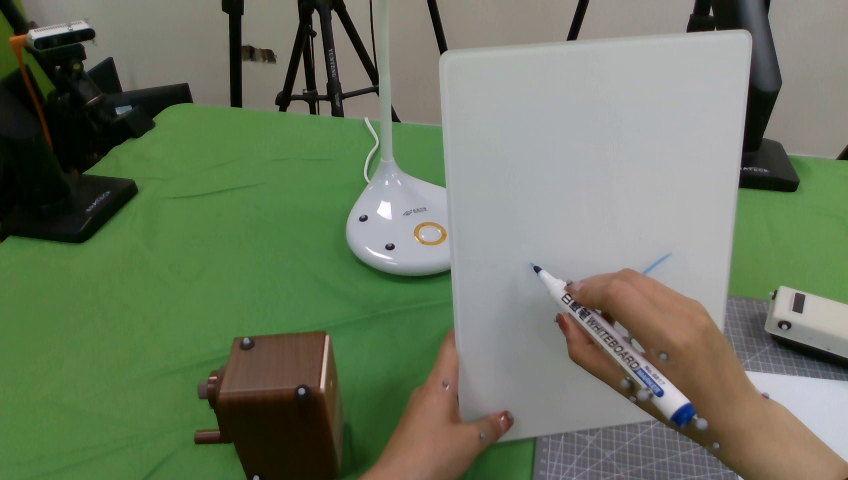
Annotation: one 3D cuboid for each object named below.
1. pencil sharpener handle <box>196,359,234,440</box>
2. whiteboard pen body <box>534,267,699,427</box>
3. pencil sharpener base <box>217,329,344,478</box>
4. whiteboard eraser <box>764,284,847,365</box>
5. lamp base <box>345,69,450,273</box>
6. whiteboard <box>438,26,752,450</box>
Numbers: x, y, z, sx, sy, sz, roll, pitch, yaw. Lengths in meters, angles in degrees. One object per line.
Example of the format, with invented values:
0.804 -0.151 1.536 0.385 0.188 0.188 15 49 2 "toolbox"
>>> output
-0.155 0.119 0.441 0.031 0.068 0.035 -3 26 -2 "pencil sharpener handle"
0.112 0.059 0.377 0.017 0.017 0.139 -20 45 -23 "whiteboard pen body"
-0.104 0.125 0.454 0.077 0.108 0.060 -3 39 -2 "pencil sharpener base"
0.373 0.082 0.549 0.112 0.042 0.055 20 44 25 "whiteboard eraser"
-0.019 -0.083 0.659 0.161 0.182 0.177 -25 41 -27 "lamp base"
0.119 -0.009 0.508 0.217 0.307 0.143 -6 19 -5 "whiteboard"
